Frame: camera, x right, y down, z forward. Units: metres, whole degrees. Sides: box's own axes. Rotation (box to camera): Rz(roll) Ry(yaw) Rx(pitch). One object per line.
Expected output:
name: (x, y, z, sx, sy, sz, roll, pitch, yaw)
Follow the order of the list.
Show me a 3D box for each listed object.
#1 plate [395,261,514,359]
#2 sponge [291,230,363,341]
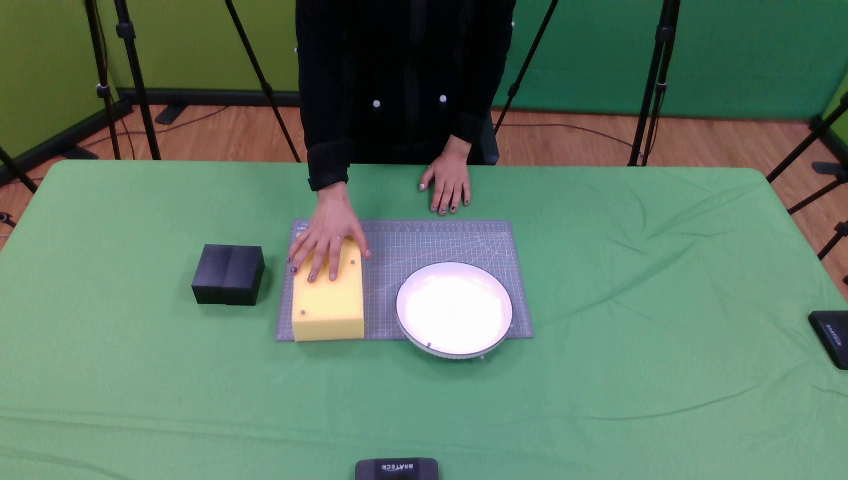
plate: (0.052, 0.124, 1.066, 0.209, 0.038, 0.208, 2, 46, -2)
sponge: (-0.171, 0.077, 1.081, 0.118, 0.061, 0.205, -3, 47, -6)
